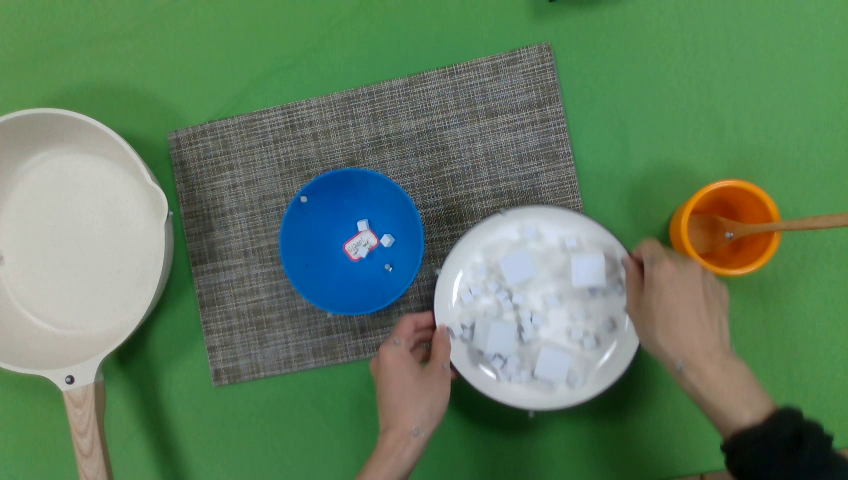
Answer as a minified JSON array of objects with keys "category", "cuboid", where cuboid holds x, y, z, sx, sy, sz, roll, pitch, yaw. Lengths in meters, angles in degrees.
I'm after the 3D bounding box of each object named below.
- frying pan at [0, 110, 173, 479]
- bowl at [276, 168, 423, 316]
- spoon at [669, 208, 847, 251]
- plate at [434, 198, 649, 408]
[{"category":"frying pan","cuboid":[-0.390,0.102,0.670,0.307,0.103,0.485,-16,79,7]},{"category":"bowl","cuboid":[-0.071,0.003,0.644,0.151,0.077,0.151,0,90,6]},{"category":"spoon","cuboid":[0.325,-0.015,0.568,0.022,0.193,0.041,-7,90,-38]},{"category":"plate","cuboid":[0.115,0.062,0.609,0.207,0.039,0.207,0,92,12]}]
